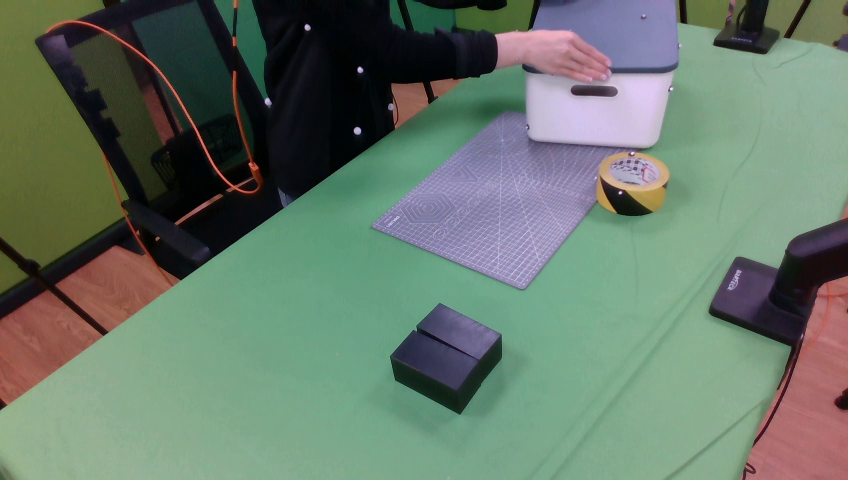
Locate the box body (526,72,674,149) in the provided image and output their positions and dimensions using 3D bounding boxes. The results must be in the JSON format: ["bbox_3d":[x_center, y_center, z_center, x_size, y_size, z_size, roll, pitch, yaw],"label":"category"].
[{"bbox_3d":[0.356,-0.342,1.212,0.253,0.161,0.363,7,42,17],"label":"box body"}]

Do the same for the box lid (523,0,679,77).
[{"bbox_3d":[0.341,-0.405,1.150,0.262,0.015,0.371,5,44,16],"label":"box lid"}]

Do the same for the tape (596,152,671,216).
[{"bbox_3d":[0.349,-0.095,1.009,0.117,0.053,0.116,-3,42,3],"label":"tape"}]
